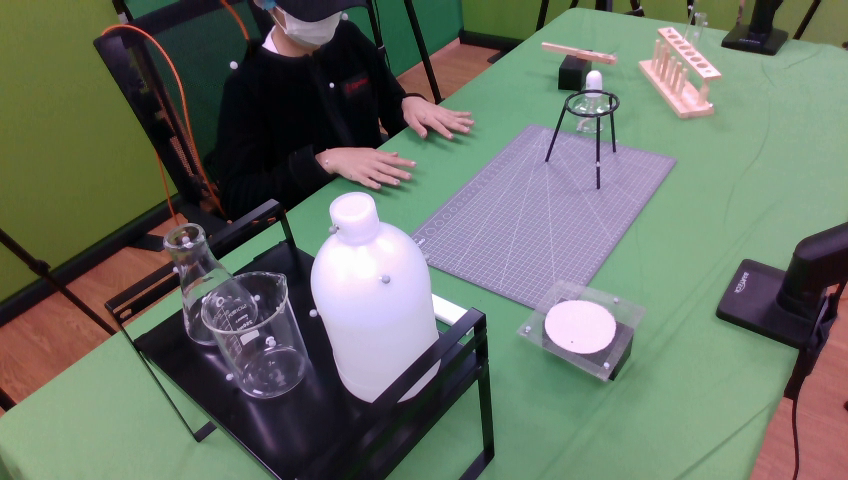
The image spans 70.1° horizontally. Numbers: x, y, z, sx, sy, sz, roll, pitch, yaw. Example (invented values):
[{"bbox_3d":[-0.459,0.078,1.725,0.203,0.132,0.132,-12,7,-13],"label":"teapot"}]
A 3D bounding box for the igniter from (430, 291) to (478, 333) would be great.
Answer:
[{"bbox_3d":[-0.038,0.068,0.905,0.274,0.025,0.057,24,60,32],"label":"igniter"}]

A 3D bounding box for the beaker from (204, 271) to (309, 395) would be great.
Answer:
[{"bbox_3d":[-0.149,0.088,0.565,0.073,0.101,0.084,21,47,29],"label":"beaker"}]

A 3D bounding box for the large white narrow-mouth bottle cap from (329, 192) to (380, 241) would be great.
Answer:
[{"bbox_3d":[-0.053,-0.019,0.465,0.038,0.024,0.037,-5,40,4],"label":"large white narrow-mouth bottle cap"}]

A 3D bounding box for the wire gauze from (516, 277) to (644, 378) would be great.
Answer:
[{"bbox_3d":[0.197,0.103,0.765,0.124,0.011,0.122,23,50,32],"label":"wire gauze"}]

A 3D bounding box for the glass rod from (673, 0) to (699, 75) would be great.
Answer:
[{"bbox_3d":[0.541,-0.427,1.246,0.008,0.200,0.008,0,48,1],"label":"glass rod"}]

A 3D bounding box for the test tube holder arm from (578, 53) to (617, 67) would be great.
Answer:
[{"bbox_3d":[0.376,-0.393,1.314,0.087,0.015,0.010,26,51,32],"label":"test tube holder arm"}]

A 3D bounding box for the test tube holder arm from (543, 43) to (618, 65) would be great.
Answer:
[{"bbox_3d":[0.345,-0.413,1.341,0.177,0.015,0.013,25,50,31],"label":"test tube holder arm"}]

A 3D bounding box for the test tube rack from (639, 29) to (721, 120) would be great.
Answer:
[{"bbox_3d":[0.527,-0.351,1.262,0.067,0.085,0.241,-8,40,1],"label":"test tube rack"}]

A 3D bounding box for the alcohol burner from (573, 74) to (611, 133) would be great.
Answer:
[{"bbox_3d":[0.330,-0.270,1.176,0.078,0.119,0.077,-4,43,4],"label":"alcohol burner"}]

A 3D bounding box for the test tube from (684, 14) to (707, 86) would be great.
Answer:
[{"bbox_3d":[0.541,-0.379,1.216,0.017,0.151,0.017,-2,44,2],"label":"test tube"}]

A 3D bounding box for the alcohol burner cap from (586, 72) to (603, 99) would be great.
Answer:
[{"bbox_3d":[0.325,-0.297,1.154,0.034,0.048,0.033,-8,35,6],"label":"alcohol burner cap"}]

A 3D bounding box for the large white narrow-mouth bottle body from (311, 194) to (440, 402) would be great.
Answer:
[{"bbox_3d":[-0.043,0.046,0.522,0.102,0.195,0.101,-5,40,5],"label":"large white narrow-mouth bottle body"}]

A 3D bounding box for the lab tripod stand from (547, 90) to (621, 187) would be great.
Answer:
[{"bbox_3d":[0.289,-0.184,1.062,0.148,0.132,0.147,-6,41,6],"label":"lab tripod stand"}]

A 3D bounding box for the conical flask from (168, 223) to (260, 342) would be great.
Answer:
[{"bbox_3d":[-0.219,0.040,0.614,0.075,0.122,0.075,-5,40,4],"label":"conical flask"}]
